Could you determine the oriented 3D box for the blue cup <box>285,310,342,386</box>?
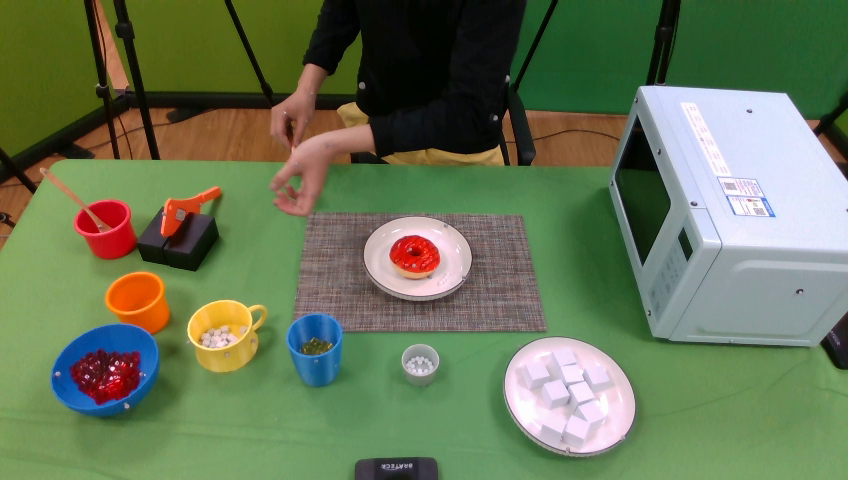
[{"bbox_3d":[-0.169,0.179,0.958,0.093,0.101,0.092,1,44,-1],"label":"blue cup"}]

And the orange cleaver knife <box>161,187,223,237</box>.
[{"bbox_3d":[-0.448,-0.058,1.181,0.012,0.077,0.211,13,17,6],"label":"orange cleaver knife"}]

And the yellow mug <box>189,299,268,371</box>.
[{"bbox_3d":[-0.316,0.148,1.002,0.131,0.064,0.099,-32,56,-31],"label":"yellow mug"}]

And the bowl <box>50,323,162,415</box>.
[{"bbox_3d":[-0.472,0.209,0.924,0.151,0.077,0.150,3,45,-2],"label":"bowl"}]

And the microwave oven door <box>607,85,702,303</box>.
[{"bbox_3d":[0.423,-0.094,1.140,0.039,0.245,0.353,2,46,-1],"label":"microwave oven door"}]

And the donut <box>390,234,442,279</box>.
[{"bbox_3d":[-0.016,0.031,1.135,0.099,0.048,0.098,4,44,-4],"label":"donut"}]

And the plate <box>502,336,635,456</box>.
[{"bbox_3d":[0.225,0.248,0.963,0.208,0.039,0.206,2,46,-2],"label":"plate"}]

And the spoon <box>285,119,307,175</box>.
[{"bbox_3d":[-0.278,-0.201,1.287,0.041,0.022,0.192,-16,53,-4],"label":"spoon"}]

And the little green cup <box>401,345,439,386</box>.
[{"bbox_3d":[-0.007,0.206,0.988,0.061,0.039,0.061,2,46,-2],"label":"little green cup"}]

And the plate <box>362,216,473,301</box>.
[{"bbox_3d":[-0.012,0.038,1.145,0.209,0.038,0.208,2,46,-2],"label":"plate"}]

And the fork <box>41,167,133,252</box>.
[{"bbox_3d":[-0.624,-0.056,1.121,0.208,0.018,0.028,49,51,-15],"label":"fork"}]

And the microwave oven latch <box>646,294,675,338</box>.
[{"bbox_3d":[0.412,0.134,1.061,0.030,0.029,0.078,4,45,1],"label":"microwave oven latch"}]

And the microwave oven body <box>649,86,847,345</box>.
[{"bbox_3d":[0.568,-0.053,1.118,0.326,0.261,0.439,2,45,-1],"label":"microwave oven body"}]
